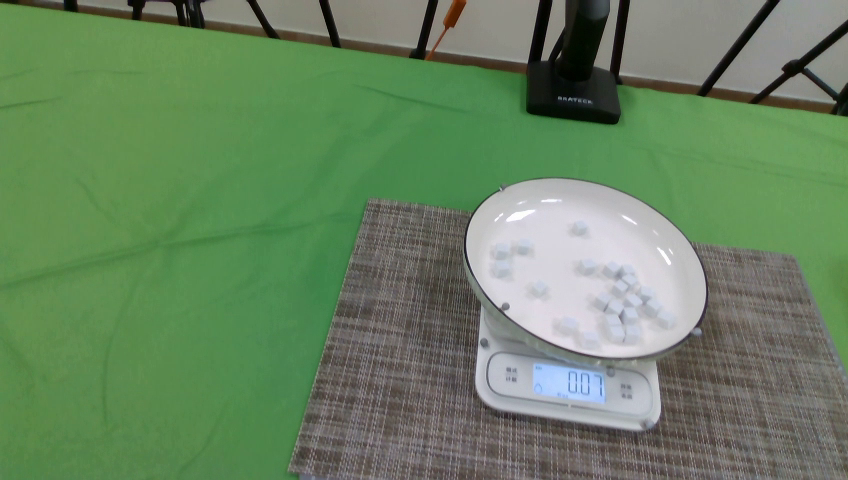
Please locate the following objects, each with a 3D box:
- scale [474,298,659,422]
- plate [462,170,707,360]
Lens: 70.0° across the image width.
[{"bbox_3d":[0.124,0.058,0.536,0.148,0.032,0.199,8,46,2],"label":"scale"},{"bbox_3d":[0.135,0.019,0.528,0.209,0.038,0.207,4,46,-3],"label":"plate"}]
